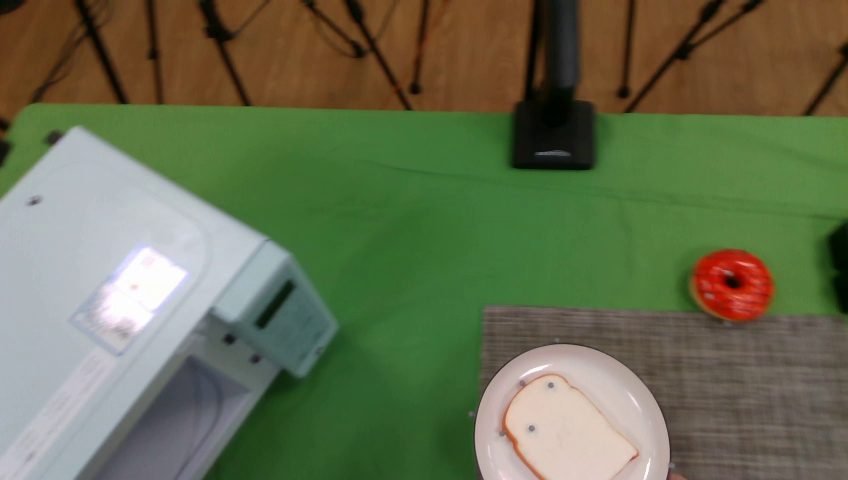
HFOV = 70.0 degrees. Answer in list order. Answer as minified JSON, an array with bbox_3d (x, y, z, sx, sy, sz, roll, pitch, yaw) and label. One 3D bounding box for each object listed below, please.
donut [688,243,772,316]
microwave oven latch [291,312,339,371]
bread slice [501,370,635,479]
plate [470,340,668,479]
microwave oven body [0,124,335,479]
[{"bbox_3d":[0.384,0.050,0.762,0.099,0.048,0.098,-4,62,7],"label":"donut"},{"bbox_3d":[-0.138,0.123,0.759,0.030,0.030,0.079,30,72,16],"label":"microwave oven latch"},{"bbox_3d":[0.148,0.209,0.659,0.105,0.019,0.130,-38,74,-15],"label":"bread slice"},{"bbox_3d":[0.153,0.214,0.654,0.208,0.039,0.206,0,67,1],"label":"plate"},{"bbox_3d":[-0.365,0.157,0.656,0.324,0.262,0.440,28,72,16],"label":"microwave oven body"}]
